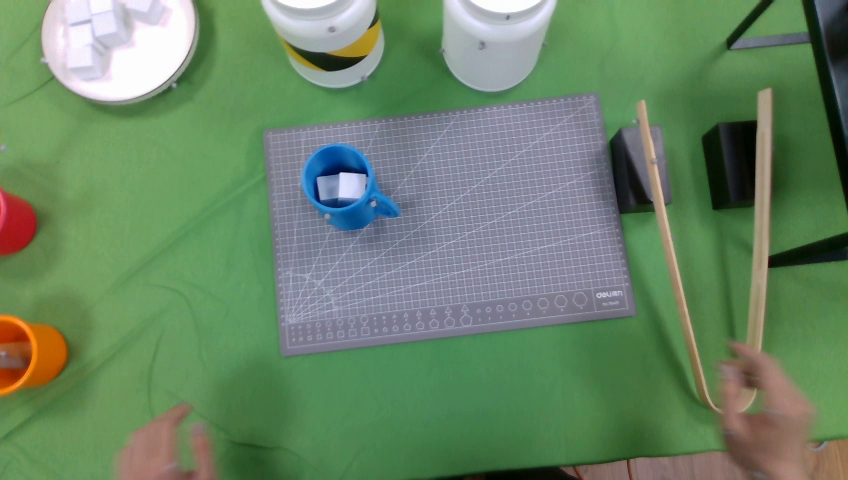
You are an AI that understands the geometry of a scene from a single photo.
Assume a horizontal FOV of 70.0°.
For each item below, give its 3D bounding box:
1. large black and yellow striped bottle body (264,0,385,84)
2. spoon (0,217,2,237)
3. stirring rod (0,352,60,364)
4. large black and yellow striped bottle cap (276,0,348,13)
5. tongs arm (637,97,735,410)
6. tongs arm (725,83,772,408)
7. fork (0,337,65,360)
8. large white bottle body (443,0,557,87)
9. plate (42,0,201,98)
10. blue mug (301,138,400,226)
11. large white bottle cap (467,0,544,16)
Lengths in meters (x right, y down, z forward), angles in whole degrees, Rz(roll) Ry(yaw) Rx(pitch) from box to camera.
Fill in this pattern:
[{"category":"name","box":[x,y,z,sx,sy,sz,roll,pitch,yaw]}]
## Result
[{"category":"large black and yellow striped bottle body","box":[-0.119,-0.286,0.735,0.131,0.184,0.130,0,80,1]},{"category":"spoon","box":[-0.519,-0.066,0.725,0.041,0.021,0.194,39,127,10]},{"category":"stirring rod","box":[-0.518,0.134,0.692,0.177,0.006,0.014,9,65,-39]},{"category":"large black and yellow striped bottle cap","box":[-0.121,-0.302,0.653,0.115,0.019,0.114,0,82,-1]},{"category":"tongs arm","box":[0.312,0.017,0.724,0.051,0.026,0.385,-11,93,-4]},{"category":"tongs arm","box":[0.394,0.009,0.727,0.028,0.027,0.387,2,92,-8]},{"category":"fork","box":[-0.528,0.115,0.693,0.209,0.018,0.028,19,77,-40]},{"category":"large white bottle body","box":[0.089,-0.281,0.732,0.130,0.185,0.130,0,81,1]},{"category":"plate","box":[-0.399,-0.285,0.812,0.208,0.039,0.207,0,81,1]},{"category":"blue mug","box":[-0.083,-0.061,0.737,0.116,0.106,0.082,23,82,4]},{"category":"large white bottle cap","box":[0.088,-0.296,0.649,0.115,0.018,0.114,0,80,0]}]
